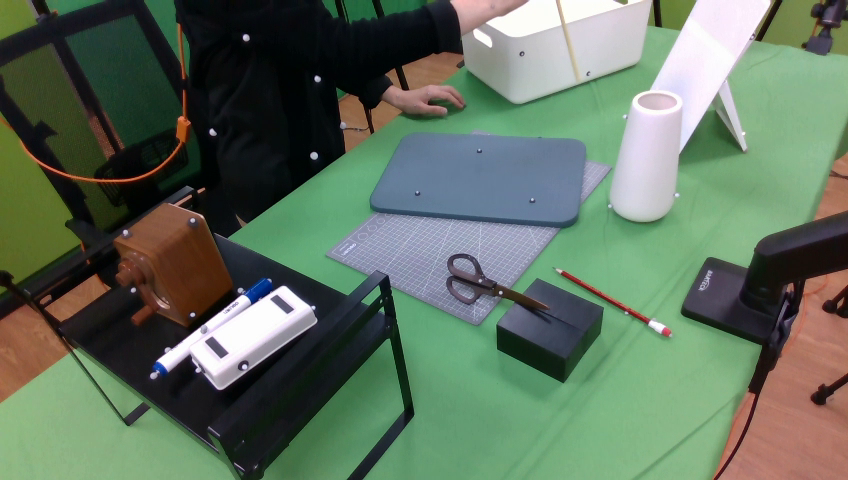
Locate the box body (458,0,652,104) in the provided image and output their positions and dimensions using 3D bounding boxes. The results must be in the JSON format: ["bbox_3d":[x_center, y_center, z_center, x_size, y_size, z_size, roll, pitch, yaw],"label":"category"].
[{"bbox_3d":[0.291,-0.465,1.371,0.365,0.161,0.252,-22,42,-16],"label":"box body"}]

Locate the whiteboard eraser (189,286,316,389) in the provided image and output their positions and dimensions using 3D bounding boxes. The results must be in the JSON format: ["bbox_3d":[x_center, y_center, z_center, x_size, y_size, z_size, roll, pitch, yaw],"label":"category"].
[{"bbox_3d":[-0.166,0.096,0.593,0.113,0.042,0.055,-36,47,-29],"label":"whiteboard eraser"}]

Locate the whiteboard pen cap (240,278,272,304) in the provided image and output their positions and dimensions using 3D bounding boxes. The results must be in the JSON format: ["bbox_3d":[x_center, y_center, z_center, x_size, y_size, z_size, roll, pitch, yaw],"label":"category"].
[{"bbox_3d":[-0.183,0.057,0.658,0.018,0.018,0.033,19,44,28],"label":"whiteboard pen cap"}]

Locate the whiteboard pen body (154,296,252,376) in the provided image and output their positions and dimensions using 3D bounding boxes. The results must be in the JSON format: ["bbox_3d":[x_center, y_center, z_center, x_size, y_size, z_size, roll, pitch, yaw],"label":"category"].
[{"bbox_3d":[-0.214,0.089,0.619,0.017,0.017,0.141,19,42,28],"label":"whiteboard pen body"}]

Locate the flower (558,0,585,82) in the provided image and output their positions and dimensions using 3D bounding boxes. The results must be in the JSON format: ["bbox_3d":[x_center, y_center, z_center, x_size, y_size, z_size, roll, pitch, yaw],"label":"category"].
[{"bbox_3d":[0.193,-0.417,0.929,0.044,0.363,0.038,-29,18,-20],"label":"flower"}]

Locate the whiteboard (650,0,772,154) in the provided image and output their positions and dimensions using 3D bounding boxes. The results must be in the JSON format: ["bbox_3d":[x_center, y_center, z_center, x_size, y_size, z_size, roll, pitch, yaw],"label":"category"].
[{"bbox_3d":[0.543,-0.298,1.076,0.144,0.305,0.216,12,40,-7],"label":"whiteboard"}]

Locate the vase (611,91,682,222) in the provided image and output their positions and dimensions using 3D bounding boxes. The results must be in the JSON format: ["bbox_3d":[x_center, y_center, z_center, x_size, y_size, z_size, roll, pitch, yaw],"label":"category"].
[{"bbox_3d":[0.348,-0.125,0.935,0.098,0.201,0.097,-3,40,3],"label":"vase"}]

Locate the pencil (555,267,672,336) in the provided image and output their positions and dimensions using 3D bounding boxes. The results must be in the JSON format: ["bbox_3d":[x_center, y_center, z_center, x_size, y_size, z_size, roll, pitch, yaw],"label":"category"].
[{"bbox_3d":[0.260,0.082,0.851,0.012,0.012,0.192,-33,45,-27],"label":"pencil"}]

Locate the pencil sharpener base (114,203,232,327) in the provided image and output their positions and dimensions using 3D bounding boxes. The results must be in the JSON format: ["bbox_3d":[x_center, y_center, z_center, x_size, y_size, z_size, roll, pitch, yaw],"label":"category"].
[{"bbox_3d":[-0.262,0.029,0.635,0.061,0.107,0.077,18,47,26],"label":"pencil sharpener base"}]

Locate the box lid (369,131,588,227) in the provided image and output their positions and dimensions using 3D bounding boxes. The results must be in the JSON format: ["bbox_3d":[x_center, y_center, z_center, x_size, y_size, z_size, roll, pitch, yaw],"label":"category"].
[{"bbox_3d":[0.107,-0.120,1.107,0.370,0.015,0.263,5,42,14],"label":"box lid"}]

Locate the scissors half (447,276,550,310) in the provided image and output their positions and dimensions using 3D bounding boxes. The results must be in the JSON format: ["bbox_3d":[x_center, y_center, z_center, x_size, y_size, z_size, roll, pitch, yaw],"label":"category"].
[{"bbox_3d":[0.098,0.077,0.827,0.174,0.040,0.013,6,14,44],"label":"scissors half"}]

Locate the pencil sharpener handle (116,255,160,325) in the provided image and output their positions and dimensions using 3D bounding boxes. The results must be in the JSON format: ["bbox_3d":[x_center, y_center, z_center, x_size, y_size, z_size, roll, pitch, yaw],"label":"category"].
[{"bbox_3d":[-0.286,0.050,0.594,0.035,0.068,0.031,7,41,35],"label":"pencil sharpener handle"}]

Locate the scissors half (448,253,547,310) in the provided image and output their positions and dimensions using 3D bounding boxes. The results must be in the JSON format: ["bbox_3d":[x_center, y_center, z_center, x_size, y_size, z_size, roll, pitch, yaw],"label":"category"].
[{"bbox_3d":[0.098,0.058,0.821,0.173,0.040,0.013,27,33,37],"label":"scissors half"}]
